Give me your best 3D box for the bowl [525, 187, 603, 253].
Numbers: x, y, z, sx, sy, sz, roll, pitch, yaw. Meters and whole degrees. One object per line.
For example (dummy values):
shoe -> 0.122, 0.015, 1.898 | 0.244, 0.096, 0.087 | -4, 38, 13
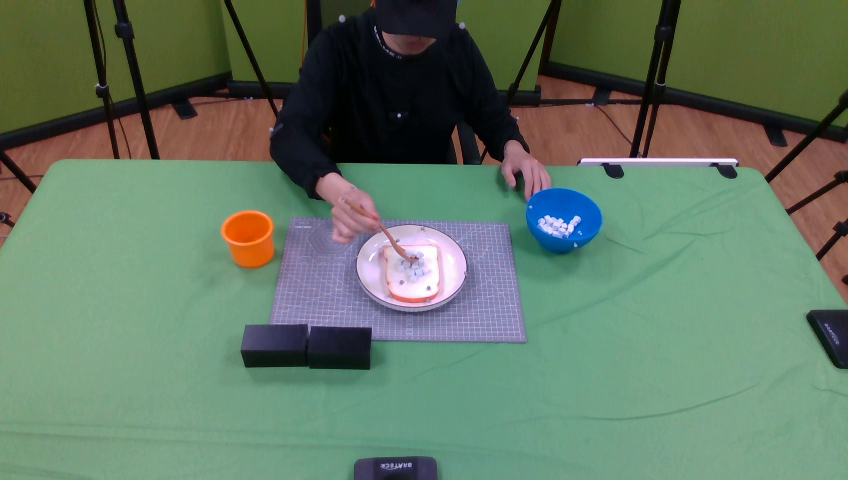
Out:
bowl -> 0.271, -0.028, 1.206 | 0.151, 0.077, 0.150 | 2, 46, -2

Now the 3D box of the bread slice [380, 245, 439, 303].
bread slice -> -0.022, 0.061, 1.126 | 0.107, 0.018, 0.133 | -3, 45, -8

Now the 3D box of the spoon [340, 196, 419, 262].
spoon -> -0.076, -0.019, 1.061 | 0.021, 0.195, 0.041 | -42, 31, 5

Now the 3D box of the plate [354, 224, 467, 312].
plate -> -0.025, 0.055, 1.128 | 0.209, 0.038, 0.208 | 3, 46, -2
